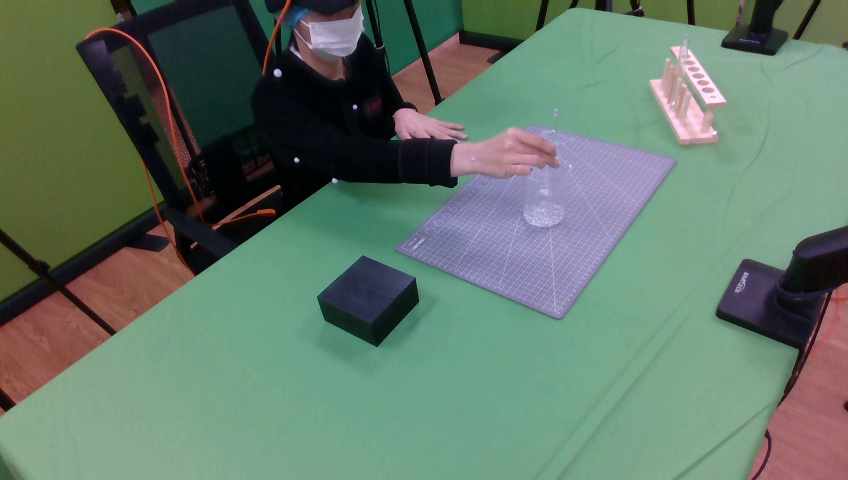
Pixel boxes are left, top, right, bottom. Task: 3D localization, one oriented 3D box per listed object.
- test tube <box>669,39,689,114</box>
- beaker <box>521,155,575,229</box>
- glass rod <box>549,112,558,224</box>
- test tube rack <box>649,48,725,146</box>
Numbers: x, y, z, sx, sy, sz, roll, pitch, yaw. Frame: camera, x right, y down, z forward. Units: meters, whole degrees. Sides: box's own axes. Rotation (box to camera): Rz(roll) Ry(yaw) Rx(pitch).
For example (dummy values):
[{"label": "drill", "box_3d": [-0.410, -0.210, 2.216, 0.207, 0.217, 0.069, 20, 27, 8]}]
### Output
[{"label": "test tube", "box_3d": [0.482, -0.308, 1.146, 0.017, 0.151, 0.017, -5, 42, 5]}, {"label": "beaker", "box_3d": [0.197, -0.075, 0.969, 0.084, 0.101, 0.073, -6, 40, 2]}, {"label": "glass rod", "box_3d": [0.195, -0.103, 0.918, 0.008, 0.200, 0.008, -4, 39, 4]}, {"label": "test tube rack", "box_3d": [0.508, -0.285, 1.186, 0.067, 0.085, 0.241, -4, 40, 6]}]
